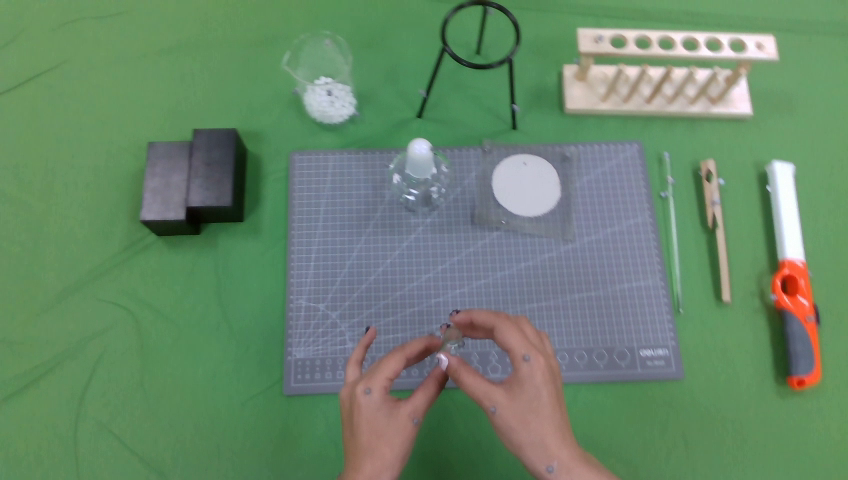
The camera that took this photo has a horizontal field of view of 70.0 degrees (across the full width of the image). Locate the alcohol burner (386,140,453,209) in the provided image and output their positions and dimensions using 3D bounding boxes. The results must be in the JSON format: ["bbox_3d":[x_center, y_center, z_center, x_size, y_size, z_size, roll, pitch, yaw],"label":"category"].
[{"bbox_3d":[-0.006,-0.082,0.697,0.078,0.120,0.077,0,71,1],"label":"alcohol burner"}]

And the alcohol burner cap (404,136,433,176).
[{"bbox_3d":[-0.005,-0.095,0.663,0.034,0.048,0.033,1,65,-2],"label":"alcohol burner cap"}]

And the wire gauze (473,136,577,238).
[{"bbox_3d":[0.127,-0.069,0.753,0.125,0.011,0.121,9,73,0],"label":"wire gauze"}]

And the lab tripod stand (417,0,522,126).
[{"bbox_3d":[0.060,-0.209,0.734,0.148,0.132,0.147,0,73,-1],"label":"lab tripod stand"}]

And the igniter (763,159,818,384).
[{"bbox_3d":[0.434,0.032,0.722,0.057,0.025,0.275,8,71,-10],"label":"igniter"}]

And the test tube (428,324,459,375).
[{"bbox_3d":[0.016,0.103,0.550,0.017,0.151,0.017,2,67,-3],"label":"test tube"}]

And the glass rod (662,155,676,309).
[{"bbox_3d":[0.300,-0.013,0.742,0.008,0.008,0.198,3,74,-1],"label":"glass rod"}]

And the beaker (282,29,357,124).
[{"bbox_3d":[-0.123,-0.194,0.741,0.084,0.101,0.073,-10,71,-4],"label":"beaker"}]

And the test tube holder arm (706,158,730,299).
[{"bbox_3d":[0.357,-0.016,0.739,0.013,0.015,0.177,-11,70,30],"label":"test tube holder arm"}]

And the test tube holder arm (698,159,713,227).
[{"bbox_3d":[0.353,-0.058,0.755,0.010,0.015,0.087,-10,70,31],"label":"test tube holder arm"}]

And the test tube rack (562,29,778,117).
[{"bbox_3d":[0.306,-0.210,0.767,0.242,0.085,0.066,2,71,-1],"label":"test tube rack"}]
